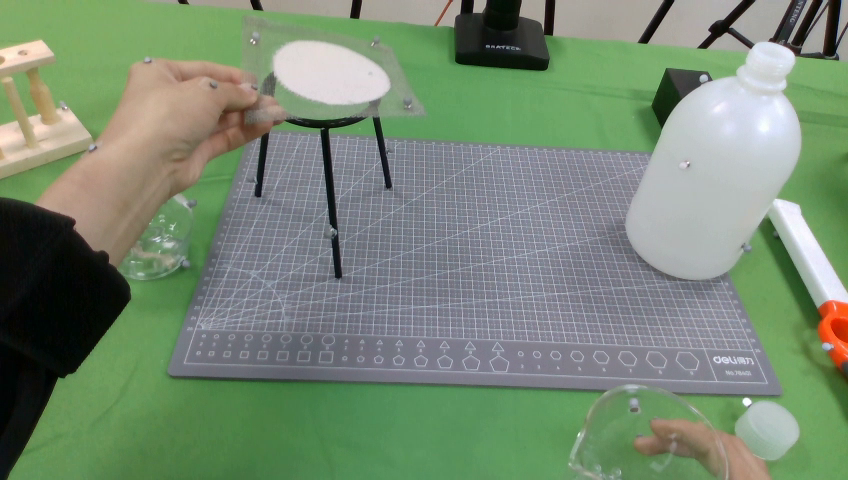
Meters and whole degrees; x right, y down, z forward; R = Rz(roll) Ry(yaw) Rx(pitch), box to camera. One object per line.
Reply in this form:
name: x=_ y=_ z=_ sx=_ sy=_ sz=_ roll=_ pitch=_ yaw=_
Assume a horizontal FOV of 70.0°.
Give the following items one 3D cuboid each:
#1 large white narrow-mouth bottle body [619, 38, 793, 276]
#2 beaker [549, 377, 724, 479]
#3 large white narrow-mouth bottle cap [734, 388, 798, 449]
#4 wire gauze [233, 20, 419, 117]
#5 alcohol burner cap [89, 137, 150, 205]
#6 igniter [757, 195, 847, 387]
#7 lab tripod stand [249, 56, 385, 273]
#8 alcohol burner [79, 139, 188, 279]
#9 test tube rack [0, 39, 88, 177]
large white narrow-mouth bottle body: x=0.233 y=-0.067 z=0.491 sx=0.102 sy=0.196 sz=0.101 roll=3 pitch=45 yaw=-2
beaker: x=0.110 y=0.138 z=0.346 sx=0.084 sy=0.101 sz=0.073 roll=-6 pitch=46 yaw=-10
large white narrow-mouth bottle cap: x=0.241 y=0.127 z=0.428 sx=0.038 sy=0.024 sz=0.037 roll=3 pitch=45 yaw=-3
wire gauze: x=-0.075 y=-0.123 z=0.442 sx=0.122 sy=0.011 sz=0.123 roll=0 pitch=44 yaw=-21
alcohol burner cap: x=-0.220 y=-0.051 z=0.433 sx=0.034 sy=0.048 sz=0.033 roll=2 pitch=51 yaw=-2
igniter: x=0.337 y=0.060 z=0.501 sx=0.057 sy=0.025 sz=0.274 roll=12 pitch=44 yaw=-9
lab tripod stand: x=-0.085 y=-0.068 z=0.498 sx=0.148 sy=0.132 sz=0.147 roll=5 pitch=46 yaw=-4
alcohol burner: x=-0.223 y=-0.027 z=0.460 sx=0.078 sy=0.120 sz=0.077 roll=5 pitch=43 yaw=-4
test tube rack: x=-0.435 y=-0.087 z=0.514 sx=0.242 sy=0.086 sz=0.066 roll=-30 pitch=56 yaw=-31
